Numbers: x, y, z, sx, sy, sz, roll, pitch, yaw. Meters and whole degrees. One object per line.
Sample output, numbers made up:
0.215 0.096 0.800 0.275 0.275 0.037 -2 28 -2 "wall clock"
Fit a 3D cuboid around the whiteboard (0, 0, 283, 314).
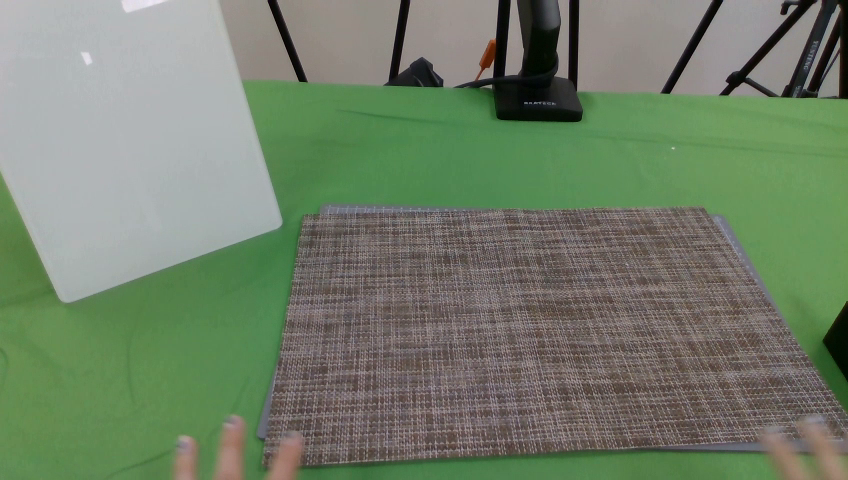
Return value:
-0.300 -0.125 0.592 0.217 0.307 0.142 -23 25 -26 "whiteboard"
